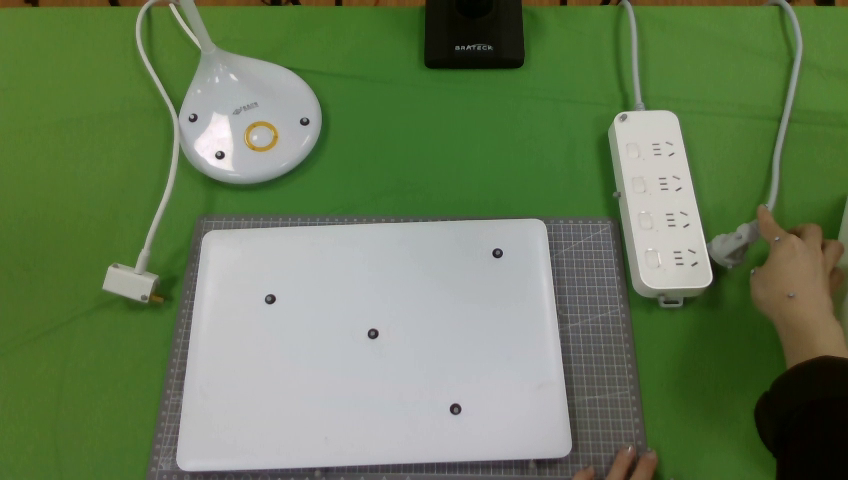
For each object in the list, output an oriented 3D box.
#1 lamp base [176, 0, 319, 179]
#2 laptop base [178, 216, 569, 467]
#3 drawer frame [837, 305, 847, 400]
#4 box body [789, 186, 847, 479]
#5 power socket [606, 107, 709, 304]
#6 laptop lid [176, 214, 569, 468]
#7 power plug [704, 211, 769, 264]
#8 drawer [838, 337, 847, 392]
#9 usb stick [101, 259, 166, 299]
[{"bbox_3d":[-0.209,-0.180,0.623,0.160,0.181,0.178,-36,67,-14],"label":"lamp base"},{"bbox_3d":[-0.049,0.090,0.589,0.354,0.023,0.234,-2,70,0],"label":"laptop base"},{"bbox_3d":[0.498,0.075,0.542,0.201,0.083,0.212,21,63,8],"label":"drawer frame"},{"bbox_3d":[0.488,0.086,0.502,0.253,0.161,0.362,22,68,10],"label":"box body"},{"bbox_3d":[0.241,-0.045,0.636,0.072,0.033,0.225,0,66,-1],"label":"power socket"},{"bbox_3d":[-0.049,0.088,0.577,0.357,0.013,0.240,-1,69,1],"label":"laptop lid"},{"bbox_3d":[0.315,0.003,0.609,0.073,0.053,0.035,-12,62,-21],"label":"power plug"},{"bbox_3d":[0.502,0.070,0.540,0.194,0.074,0.211,20,72,9],"label":"drawer"},{"bbox_3d":[-0.286,0.041,0.605,0.059,0.021,0.027,24,95,-14],"label":"usb stick"}]
